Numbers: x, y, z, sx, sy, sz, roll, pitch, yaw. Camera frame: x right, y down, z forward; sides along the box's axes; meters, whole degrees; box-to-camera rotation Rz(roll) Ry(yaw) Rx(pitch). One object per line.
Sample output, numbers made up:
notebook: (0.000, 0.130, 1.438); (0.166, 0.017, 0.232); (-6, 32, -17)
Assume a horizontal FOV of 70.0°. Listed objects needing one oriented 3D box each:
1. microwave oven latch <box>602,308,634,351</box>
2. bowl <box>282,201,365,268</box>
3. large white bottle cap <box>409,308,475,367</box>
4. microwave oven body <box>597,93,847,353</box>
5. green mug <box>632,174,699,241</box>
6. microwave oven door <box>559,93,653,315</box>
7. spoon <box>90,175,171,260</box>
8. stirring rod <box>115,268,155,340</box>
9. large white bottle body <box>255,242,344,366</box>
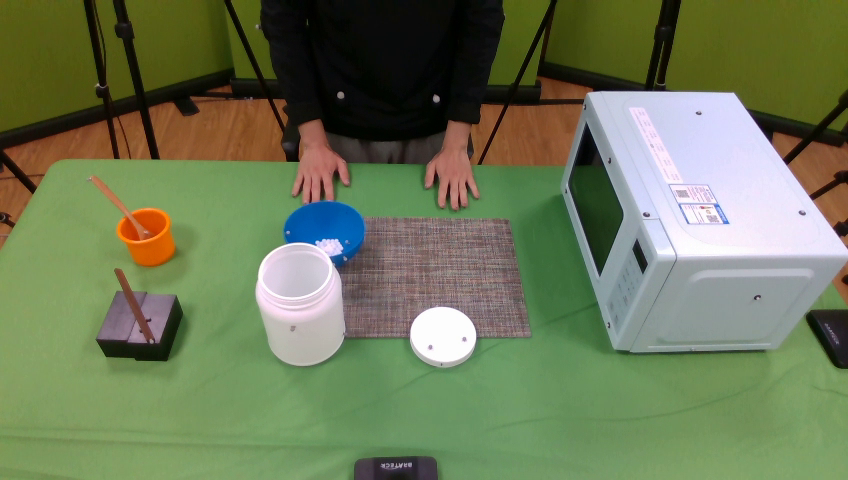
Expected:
microwave oven latch: (0.332, 0.153, 1.044); (0.030, 0.029, 0.078); (-1, 45, -4)
bowl: (-0.187, 0.005, 1.137); (0.151, 0.077, 0.150); (3, 46, -3)
large white bottle cap: (0.031, 0.165, 1.041); (0.115, 0.018, 0.114); (2, 46, -2)
microwave oven body: (0.475, -0.041, 1.109); (0.326, 0.261, 0.438); (-1, 45, -4)
green mug: (0.456, -0.056, 1.153); (0.125, 0.105, 0.092); (-15, 45, -10)
microwave oven door: (0.327, -0.074, 1.123); (0.039, 0.245, 0.353); (-1, 46, -5)
spoon: (-0.539, -0.042, 1.111); (0.021, 0.194, 0.041); (-13, 27, 52)
stirring rod: (-0.478, 0.103, 0.999); (0.014, 0.006, 0.175); (7, 32, -49)
large white bottle body: (-0.196, 0.102, 0.967); (0.131, 0.185, 0.130); (2, 49, -2)
